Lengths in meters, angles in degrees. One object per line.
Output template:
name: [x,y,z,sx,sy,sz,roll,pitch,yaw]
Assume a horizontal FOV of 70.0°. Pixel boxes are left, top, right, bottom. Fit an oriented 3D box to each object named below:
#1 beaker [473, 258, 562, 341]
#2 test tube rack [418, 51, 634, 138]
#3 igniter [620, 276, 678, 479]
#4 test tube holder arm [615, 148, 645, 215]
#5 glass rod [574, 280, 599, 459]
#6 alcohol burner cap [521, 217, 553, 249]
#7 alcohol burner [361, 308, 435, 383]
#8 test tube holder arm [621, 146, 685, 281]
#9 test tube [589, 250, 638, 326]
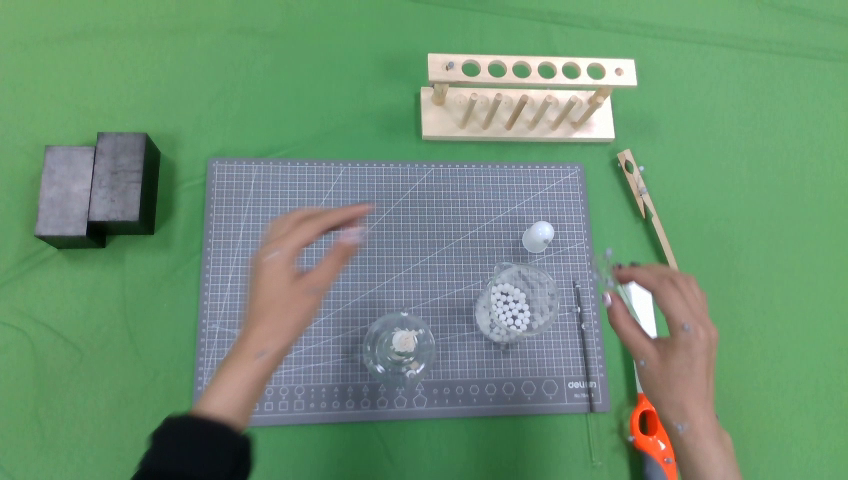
beaker: [0.092,0.066,0.648,0.074,0.100,0.083,-33,80,-14]
test tube rack: [0.119,-0.171,0.724,0.243,0.085,0.066,0,75,-7]
igniter: [0.251,0.176,0.680,0.057,0.025,0.275,3,75,-17]
test tube holder arm: [0.259,-0.073,0.751,0.010,0.015,0.087,-25,79,22]
glass rod: [0.183,0.143,0.686,0.008,0.008,0.198,-1,75,-7]
alcohol burner cap: [0.133,-0.010,0.703,0.034,0.048,0.033,2,75,-6]
alcohol burner: [-0.025,0.105,0.616,0.078,0.119,0.077,2,72,-5]
test tube holder arm: [0.279,-0.034,0.741,0.013,0.015,0.177,-26,78,22]
test tube: [0.173,0.047,0.545,0.017,0.152,0.017,-14,58,23]
